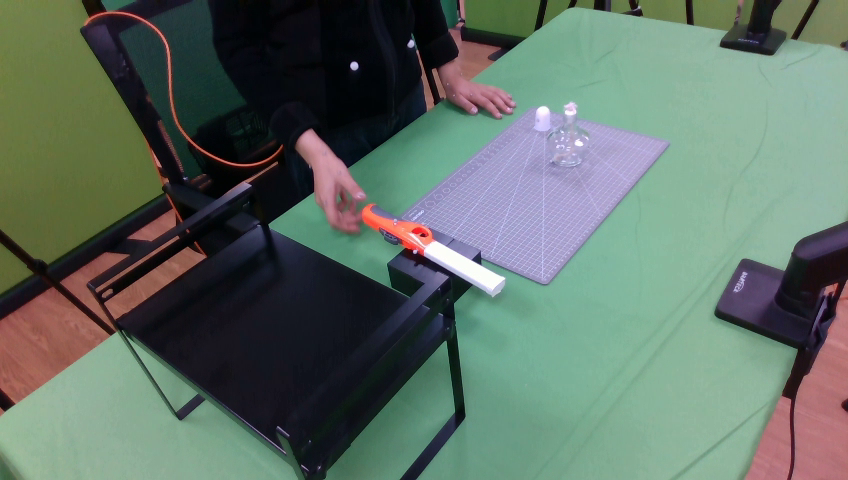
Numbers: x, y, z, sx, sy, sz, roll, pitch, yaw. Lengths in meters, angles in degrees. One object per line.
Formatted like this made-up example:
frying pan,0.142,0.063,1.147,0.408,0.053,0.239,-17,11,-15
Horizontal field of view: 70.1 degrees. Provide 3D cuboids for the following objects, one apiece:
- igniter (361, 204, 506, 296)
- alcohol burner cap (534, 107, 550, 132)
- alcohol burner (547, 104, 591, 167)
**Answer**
igniter,0.003,0.008,0.889,0.274,0.025,0.057,29,49,33
alcohol burner cap,0.236,-0.243,1.206,0.034,0.048,0.033,-4,39,3
alcohol burner,0.260,-0.192,1.087,0.078,0.119,0.077,-5,42,5
